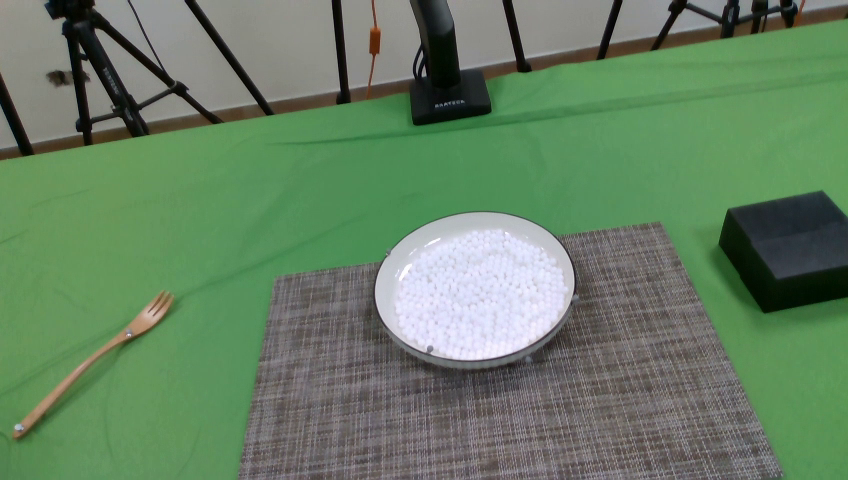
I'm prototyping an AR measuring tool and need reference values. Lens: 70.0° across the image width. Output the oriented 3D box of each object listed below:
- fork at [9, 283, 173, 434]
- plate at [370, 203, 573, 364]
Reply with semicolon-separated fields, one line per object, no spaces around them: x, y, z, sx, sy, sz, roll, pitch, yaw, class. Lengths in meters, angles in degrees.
-0.353;0.123;0.653;0.028;0.019;0.206;27;54;20;fork
0.048;0.044;0.630;0.209;0.038;0.207;-6;45;6;plate
